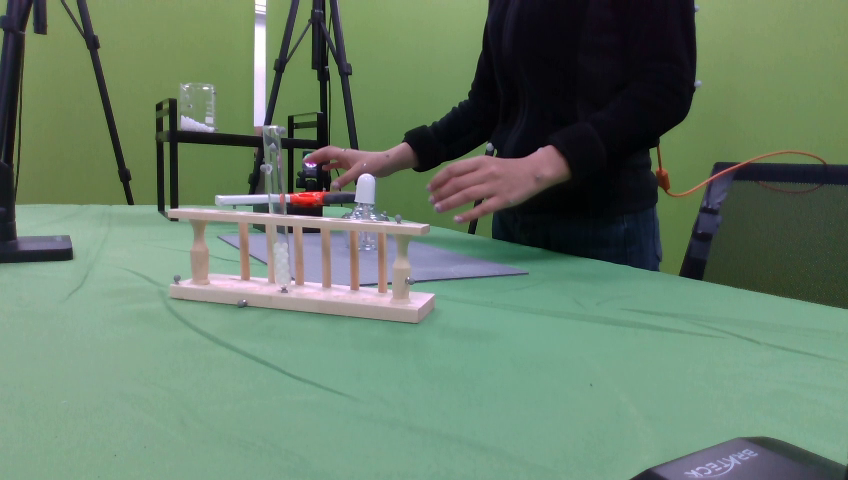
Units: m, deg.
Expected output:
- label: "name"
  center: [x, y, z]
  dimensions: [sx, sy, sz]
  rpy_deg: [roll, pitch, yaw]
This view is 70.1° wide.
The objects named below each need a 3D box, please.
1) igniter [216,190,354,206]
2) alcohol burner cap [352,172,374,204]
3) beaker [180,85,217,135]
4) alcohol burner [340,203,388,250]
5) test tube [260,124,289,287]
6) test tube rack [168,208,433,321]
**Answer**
- label: "igniter"
  center: [-0.248, -0.080, 1.152]
  dimensions: [0.278, 0.025, 0.057]
  rpy_deg: [-4, 12, -27]
- label: "alcohol burner cap"
  center: [-0.092, -0.081, 0.936]
  dimensions: [0.034, 0.048, 0.034]
  rpy_deg: [7, 10, -1]
- label: "beaker"
  center: [-0.478, -0.275, 1.279]
  dimensions: [0.074, 0.100, 0.084]
  rpy_deg: [4, 8, 15]
- label: "alcohol burner"
  center: [-0.094, -0.045, 0.939]
  dimensions: [0.078, 0.119, 0.078]
  rpy_deg: [0, 7, 0]
- label: "test tube"
  center: [-0.137, -0.030, 0.554]
  dimensions: [0.017, 0.150, 0.017]
  rpy_deg: [-2, 10, 1]
- label: "test tube rack"
  center: [-0.116, 0.017, 0.574]
  dimensions: [0.242, 0.085, 0.067]
  rpy_deg: [4, 8, 13]
